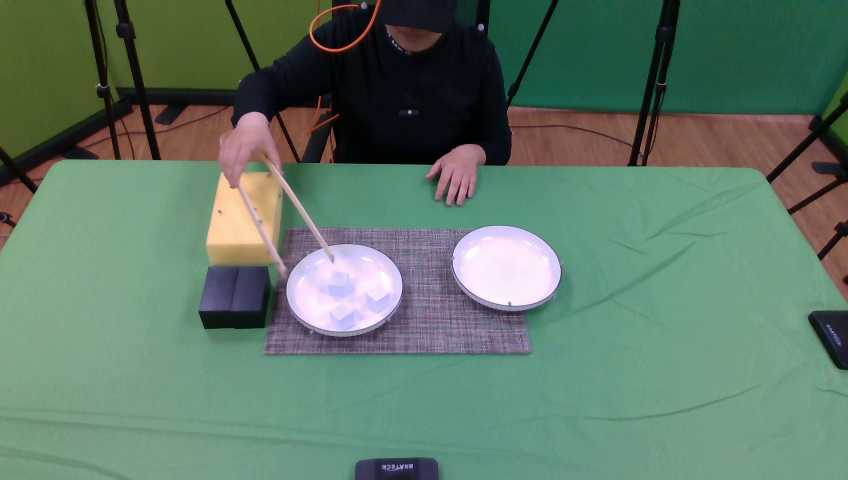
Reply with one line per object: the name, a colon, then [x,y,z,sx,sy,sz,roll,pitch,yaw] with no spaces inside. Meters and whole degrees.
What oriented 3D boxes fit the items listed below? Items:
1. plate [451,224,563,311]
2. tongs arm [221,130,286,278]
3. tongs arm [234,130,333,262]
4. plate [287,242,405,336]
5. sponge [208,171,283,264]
plate: [0.154,0.053,1.140,0.209,0.038,0.208,2,47,-2]
tongs arm: [-0.305,-0.078,1.101,0.051,0.026,0.382,-21,53,-24]
tongs arm: [-0.264,-0.093,1.121,0.028,0.028,0.385,-26,55,-23]
plate: [-0.138,0.090,1.085,0.208,0.039,0.206,2,46,-2]
sponge: [-0.346,-0.048,1.191,0.118,0.061,0.205,-2,46,-7]
